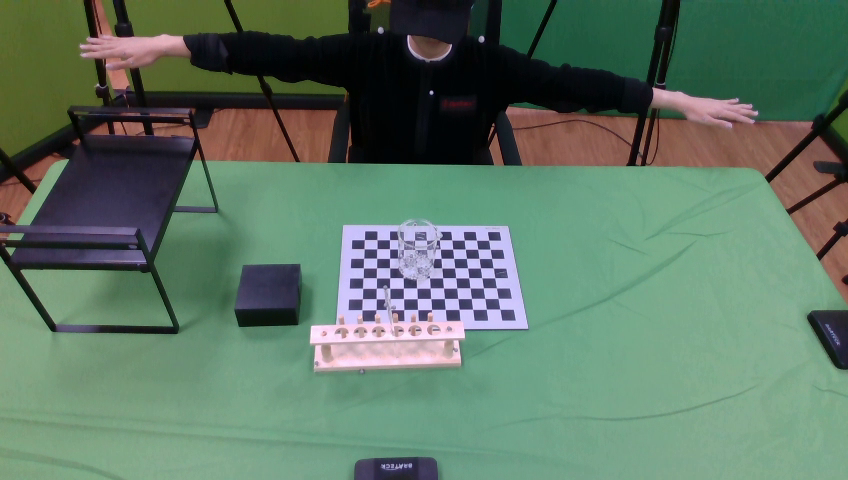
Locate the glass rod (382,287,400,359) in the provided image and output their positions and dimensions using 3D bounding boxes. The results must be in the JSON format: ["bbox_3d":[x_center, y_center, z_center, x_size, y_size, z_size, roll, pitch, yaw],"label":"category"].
[{"bbox_3d":[-0.049,0.133,0.926,0.008,0.201,0.008,-3,50,3],"label":"glass rod"}]

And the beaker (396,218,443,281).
[{"bbox_3d":[-0.010,0.020,1.116,0.084,0.101,0.073,1,46,-3],"label":"beaker"}]

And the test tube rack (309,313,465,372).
[{"bbox_3d":[-0.059,0.161,0.990,0.242,0.085,0.066,-1,46,-5],"label":"test tube rack"}]
